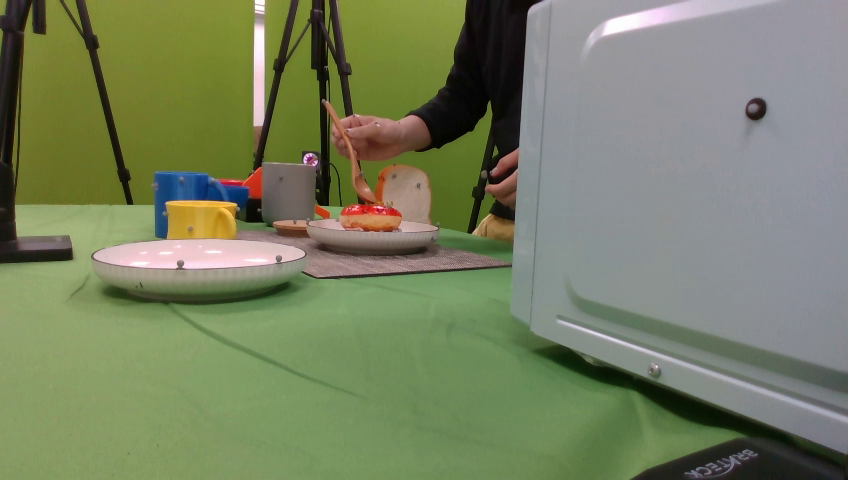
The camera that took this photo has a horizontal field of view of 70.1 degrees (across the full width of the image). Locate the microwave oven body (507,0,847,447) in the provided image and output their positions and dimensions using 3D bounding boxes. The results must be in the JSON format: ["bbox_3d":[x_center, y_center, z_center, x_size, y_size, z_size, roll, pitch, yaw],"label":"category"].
[{"bbox_3d":[0.331,-0.042,0.425,0.444,0.260,0.324,-2,8,-31],"label":"microwave oven body"}]

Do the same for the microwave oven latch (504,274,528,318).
[{"bbox_3d":[0.100,0.041,0.471,0.079,0.029,0.030,-1,8,-28],"label":"microwave oven latch"}]

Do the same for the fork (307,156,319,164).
[{"bbox_3d":[-0.331,-0.144,1.505,0.207,0.018,0.028,-42,-20,22],"label":"fork"}]

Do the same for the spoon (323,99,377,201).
[{"bbox_3d":[-0.118,-0.143,0.958,0.021,0.193,0.042,-29,-16,29],"label":"spoon"}]

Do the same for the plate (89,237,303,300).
[{"bbox_3d":[-0.233,0.029,0.637,0.208,0.039,0.207,2,7,0],"label":"plate"}]

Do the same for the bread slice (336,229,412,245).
[{"bbox_3d":[-0.074,-0.006,0.938,0.105,0.019,0.131,-2,4,-18],"label":"bread slice"}]

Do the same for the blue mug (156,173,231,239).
[{"bbox_3d":[-0.381,-0.057,1.004,0.117,0.106,0.082,0,8,-12],"label":"blue mug"}]

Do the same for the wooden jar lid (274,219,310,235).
[{"bbox_3d":[-0.213,-0.023,1.080,0.108,0.020,0.108,3,7,0],"label":"wooden jar lid"}]

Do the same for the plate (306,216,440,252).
[{"bbox_3d":[-0.079,-0.011,0.950,0.209,0.038,0.209,2,8,0],"label":"plate"}]

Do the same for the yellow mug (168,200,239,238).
[{"bbox_3d":[-0.319,-0.023,0.904,0.130,0.064,0.100,9,11,36],"label":"yellow mug"}]

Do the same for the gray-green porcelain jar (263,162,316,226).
[{"bbox_3d":[-0.271,-0.092,1.217,0.106,0.126,0.106,2,7,0],"label":"gray-green porcelain jar"}]

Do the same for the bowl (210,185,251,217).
[{"bbox_3d":[-0.408,-0.064,1.155,0.151,0.077,0.151,2,8,0],"label":"bowl"}]

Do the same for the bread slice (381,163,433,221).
[{"bbox_3d":[-0.035,-0.076,1.124,0.107,0.134,0.018,-4,1,-26],"label":"bread slice"}]

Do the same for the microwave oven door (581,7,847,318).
[{"bbox_3d":[0.295,-0.067,0.570,0.358,0.243,0.039,-3,8,-31],"label":"microwave oven door"}]

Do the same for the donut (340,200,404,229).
[{"bbox_3d":[-0.081,-0.038,0.944,0.099,0.048,0.099,1,4,0],"label":"donut"}]

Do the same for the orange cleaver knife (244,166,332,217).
[{"bbox_3d":[-0.301,-0.089,1.351,0.212,0.077,0.012,32,-11,-34],"label":"orange cleaver knife"}]
